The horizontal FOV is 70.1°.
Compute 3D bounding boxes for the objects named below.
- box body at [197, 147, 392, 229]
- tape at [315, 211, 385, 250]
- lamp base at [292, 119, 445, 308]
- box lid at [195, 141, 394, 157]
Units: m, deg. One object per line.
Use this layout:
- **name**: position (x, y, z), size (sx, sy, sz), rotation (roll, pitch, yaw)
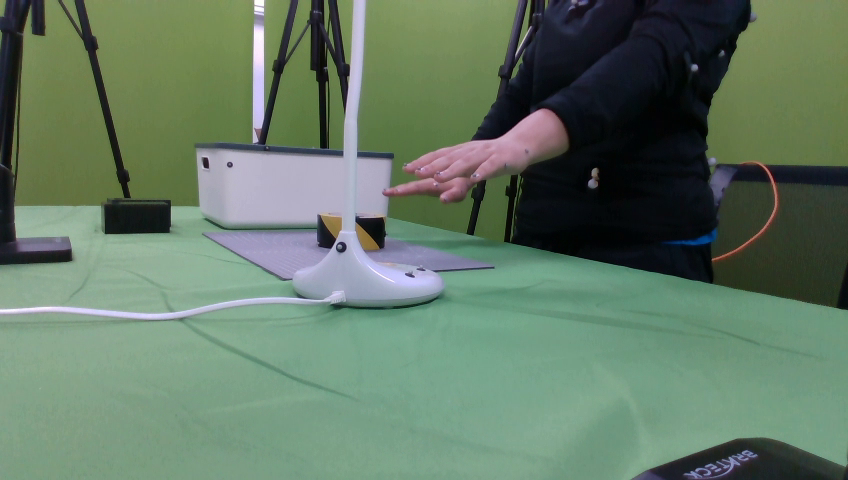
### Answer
- **box body**: position (-0.278, -0.117, 1.291), size (0.366, 0.160, 0.253), rotation (-2, 8, -30)
- **tape**: position (-0.119, -0.017, 0.973), size (0.117, 0.052, 0.117), rotation (2, 7, 0)
- **lamp base**: position (-0.056, -0.030, 0.616), size (0.160, 0.180, 0.179), rotation (4, 10, 8)
- **box lid**: position (-0.277, -0.190, 1.282), size (0.373, 0.015, 0.262), rotation (-1, 8, -30)
